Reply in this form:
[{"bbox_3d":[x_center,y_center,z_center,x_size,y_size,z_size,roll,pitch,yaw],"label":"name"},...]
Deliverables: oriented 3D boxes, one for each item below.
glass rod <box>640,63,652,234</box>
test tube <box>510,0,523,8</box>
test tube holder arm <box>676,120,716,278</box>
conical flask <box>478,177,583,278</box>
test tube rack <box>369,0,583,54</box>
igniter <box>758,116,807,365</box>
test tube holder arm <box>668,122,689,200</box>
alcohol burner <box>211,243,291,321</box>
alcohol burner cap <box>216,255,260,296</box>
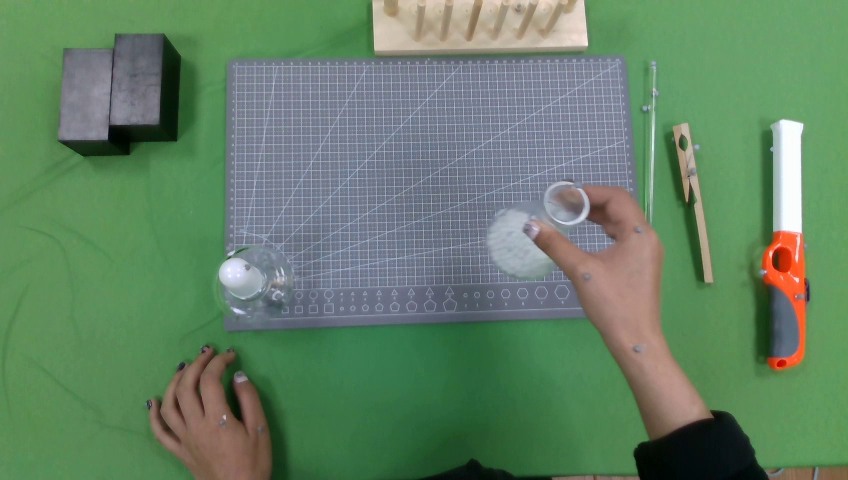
[{"bbox_3d":[0.250,-0.105,0.683,0.008,0.008,0.199,5,83,-2],"label":"glass rod"},{"bbox_3d":[0.102,-0.283,0.615,0.017,0.151,0.017,0,79,1],"label":"test tube"},{"bbox_3d":[0.299,-0.046,0.669,0.013,0.015,0.177,-15,80,31],"label":"test tube holder arm"},{"bbox_3d":[0.094,-0.015,0.513,0.075,0.122,0.075,2,75,-8],"label":"conical flask"},{"bbox_3d":[0.061,-0.256,0.658,0.242,0.085,0.066,-2,81,-3],"label":"test tube rack"},{"bbox_3d":[0.393,-0.002,0.665,0.057,0.025,0.275,7,81,-12],"label":"igniter"},{"bbox_3d":[0.288,-0.089,0.679,0.010,0.015,0.087,-13,81,32],"label":"test tube holder arm"},{"bbox_3d":[-0.171,0.038,0.583,0.078,0.119,0.077,0,80,-1],"label":"alcohol burner"},{"bbox_3d":[-0.170,0.030,0.548,0.034,0.048,0.033,1,72,-2],"label":"alcohol burner cap"}]
